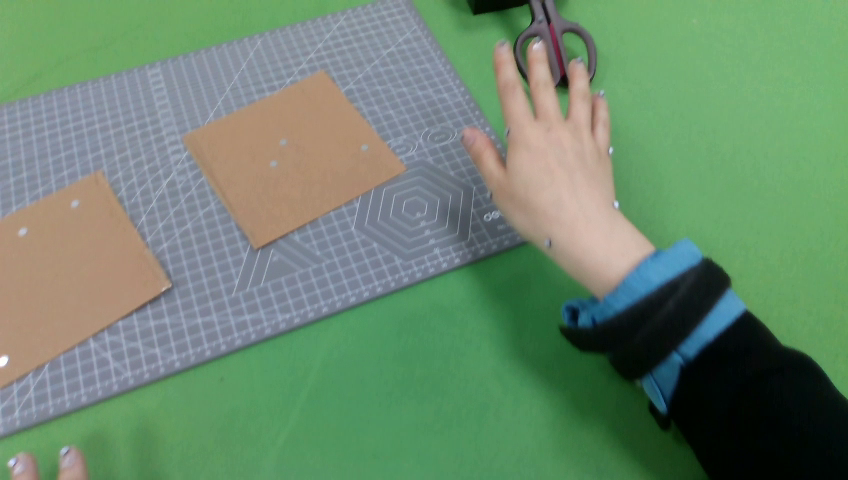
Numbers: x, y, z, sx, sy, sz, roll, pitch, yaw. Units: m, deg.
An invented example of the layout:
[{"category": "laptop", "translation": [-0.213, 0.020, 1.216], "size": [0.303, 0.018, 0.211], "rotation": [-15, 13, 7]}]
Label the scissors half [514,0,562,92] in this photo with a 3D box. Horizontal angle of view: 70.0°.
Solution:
[{"category": "scissors half", "translation": [0.093, -0.214, 0.532], "size": [0.040, 0.013, 0.174], "rotation": [-3, 80, -13]}]

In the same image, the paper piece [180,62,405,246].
[{"category": "paper piece", "translation": [-0.106, -0.075, 0.486], "size": [0.136, 0.004, 0.134], "rotation": [-30, 65, -16]}]

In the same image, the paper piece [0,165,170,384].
[{"category": "paper piece", "translation": [-0.269, 0.019, 0.429], "size": [0.138, 0.009, 0.134], "rotation": [-33, 60, -16]}]

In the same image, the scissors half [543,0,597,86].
[{"category": "scissors half", "translation": [0.112, -0.218, 0.536], "size": [0.040, 0.013, 0.174], "rotation": [-21, 84, -10]}]
